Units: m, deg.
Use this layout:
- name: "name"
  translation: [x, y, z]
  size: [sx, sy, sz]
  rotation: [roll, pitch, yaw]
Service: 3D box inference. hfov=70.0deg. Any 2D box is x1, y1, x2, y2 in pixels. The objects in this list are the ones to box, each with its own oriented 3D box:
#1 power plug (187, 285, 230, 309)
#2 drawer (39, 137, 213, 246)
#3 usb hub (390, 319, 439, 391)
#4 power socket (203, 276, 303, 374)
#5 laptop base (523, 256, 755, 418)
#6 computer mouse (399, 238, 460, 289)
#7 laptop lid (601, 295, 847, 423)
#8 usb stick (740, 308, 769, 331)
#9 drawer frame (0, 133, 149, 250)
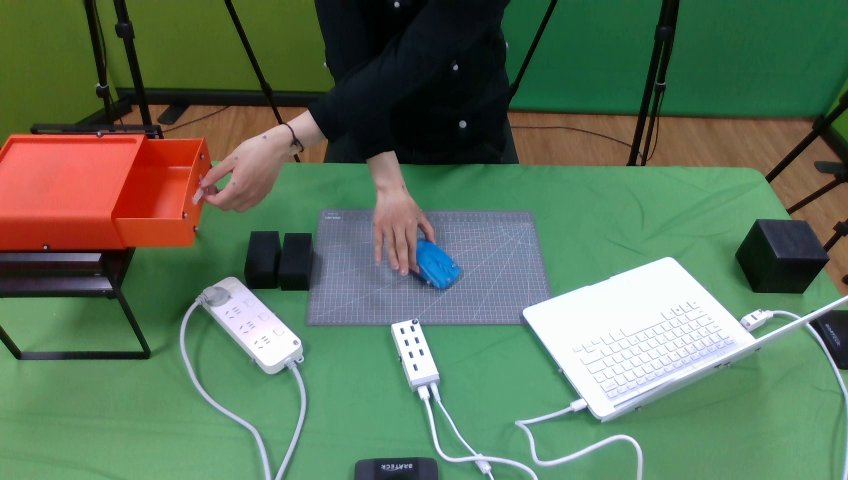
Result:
- name: "power plug"
  translation: [-0.370, 0.103, 1.039]
  size: [0.072, 0.053, 0.035]
  rotation: [-25, 54, -23]
- name: "drawer"
  translation: [-0.456, -0.080, 0.952]
  size: [0.212, 0.073, 0.193]
  rotation: [-1, 47, -5]
- name: "usb hub"
  translation: [-0.016, 0.190, 1.013]
  size: [0.049, 0.025, 0.124]
  rotation: [-10, 48, -15]
- name: "power socket"
  translation: [-0.296, 0.141, 1.034]
  size: [0.072, 0.033, 0.225]
  rotation: [-35, 58, -31]
- name: "laptop base"
  translation: [0.381, 0.159, 1.077]
  size: [0.355, 0.023, 0.234]
  rotation: [-17, 48, -19]
- name: "computer mouse"
  translation: [0.011, 0.041, 1.141]
  size: [0.116, 0.041, 0.063]
  rotation: [36, 52, 21]
- name: "laptop lid"
  translation: [0.449, 0.180, 0.905]
  size: [0.357, 0.242, 0.013]
  rotation: [-17, 64, -20]
- name: "usb stick"
  translation: [0.586, 0.145, 1.087]
  size: [0.059, 0.027, 0.021]
  rotation: [-21, 47, -16]
- name: "drawer frame"
  translation: [-0.551, -0.078, 0.942]
  size: [0.214, 0.083, 0.200]
  rotation: [-1, 47, -5]
